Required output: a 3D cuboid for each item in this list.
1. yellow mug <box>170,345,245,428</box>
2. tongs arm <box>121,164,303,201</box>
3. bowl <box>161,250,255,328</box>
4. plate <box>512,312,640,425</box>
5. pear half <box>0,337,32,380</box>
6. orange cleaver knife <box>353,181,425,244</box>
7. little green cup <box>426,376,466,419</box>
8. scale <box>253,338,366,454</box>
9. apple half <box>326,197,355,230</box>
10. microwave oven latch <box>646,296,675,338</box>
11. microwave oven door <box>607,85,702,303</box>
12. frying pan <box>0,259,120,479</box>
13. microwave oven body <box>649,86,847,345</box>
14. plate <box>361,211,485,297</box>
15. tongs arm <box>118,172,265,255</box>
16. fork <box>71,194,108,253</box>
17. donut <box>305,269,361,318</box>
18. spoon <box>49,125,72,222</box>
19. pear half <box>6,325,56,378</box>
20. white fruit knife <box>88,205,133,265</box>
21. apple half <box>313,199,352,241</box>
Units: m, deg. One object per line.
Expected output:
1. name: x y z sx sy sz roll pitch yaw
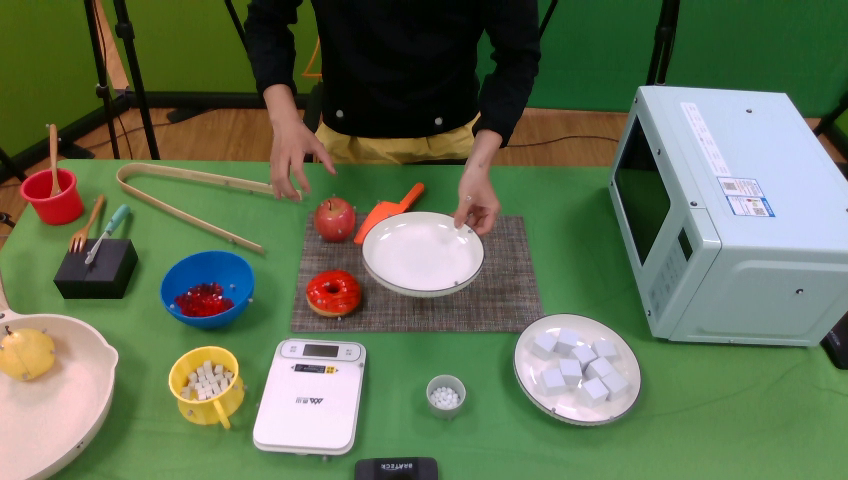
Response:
1. yellow mug: -0.322 0.230 0.922 0.100 0.064 0.130 -24 53 -25
2. tongs arm: -0.444 -0.114 1.266 0.384 0.026 0.050 12 51 7
3. bowl: -0.362 0.098 1.039 0.151 0.077 0.150 2 45 -2
4. plate: 0.246 0.213 0.999 0.208 0.039 0.206 2 46 -2
5. pear half: -0.631 0.184 0.921 0.070 0.088 0.031 29 49 19
6. orange cleaver knife: -0.069 -0.059 1.245 0.077 0.012 0.210 18 50 21
7. little green cup: 0.033 0.248 0.950 0.061 0.039 0.061 2 46 -2
8. scale: -0.175 0.236 0.951 0.149 0.032 0.199 5 45 -1
9. apple half: -0.159 -0.054 1.196 0.081 0.082 0.033 34 56 26
10. microwave oven latch: 0.412 0.134 1.061 0.030 0.029 0.078 4 45 1
11. microwave oven door: 0.423 -0.094 1.140 0.039 0.245 0.353 2 46 -1
12. frying pan: -0.647 0.164 0.936 0.307 0.103 0.485 -19 58 -22
13. microwave oven body: 0.567 -0.053 1.118 0.326 0.261 0.439 2 45 -1
14. plate: -0.002 0.026 1.023 0.209 0.038 0.208 3 40 -2
15. tongs arm: -0.473 -0.053 1.212 0.386 0.028 0.028 23 57 17
16. fork: -0.634 -0.036 1.158 0.028 0.019 0.206 -8 32 -8
17. donut: -0.160 0.095 1.075 0.099 0.048 0.098 4 44 -4
18. spoon: -0.718 -0.131 1.189 0.041 0.021 0.193 -4 90 -6
19. pear half: -0.608 0.158 0.935 0.076 0.110 0.056 31 51 20
20. white fruit knife: -0.584 -0.013 1.129 0.016 0.027 0.206 0 32 -5
21. apple half: -0.185 -0.033 1.176 0.080 0.075 0.053 35 57 22
